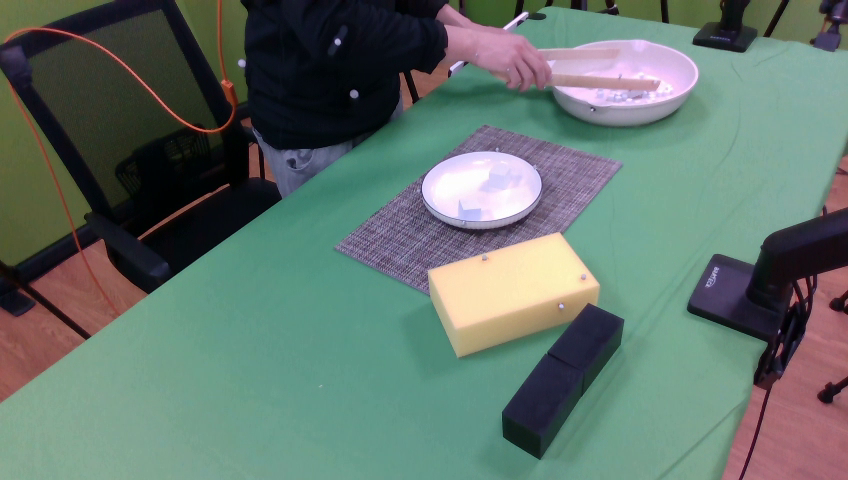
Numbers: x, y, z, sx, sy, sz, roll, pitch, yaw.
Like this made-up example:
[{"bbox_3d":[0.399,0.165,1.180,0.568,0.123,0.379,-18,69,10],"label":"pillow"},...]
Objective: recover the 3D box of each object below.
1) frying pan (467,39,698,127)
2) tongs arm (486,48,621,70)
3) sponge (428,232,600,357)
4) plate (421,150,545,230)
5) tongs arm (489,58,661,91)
[{"bbox_3d":[0.312,-0.359,1.277,0.485,0.103,0.307,23,48,19],"label":"frying pan"},{"bbox_3d":[0.262,-0.356,1.172,0.390,0.028,0.028,-15,56,-36],"label":"tongs arm"},{"bbox_3d":[0.120,0.071,0.834,0.207,0.061,0.117,-16,43,-12],"label":"sponge"},{"bbox_3d":[0.100,-0.082,1.031,0.207,0.039,0.206,-4,40,4],"label":"plate"},{"bbox_3d":[0.293,-0.308,1.132,0.387,0.026,0.050,-6,49,-29],"label":"tongs arm"}]
